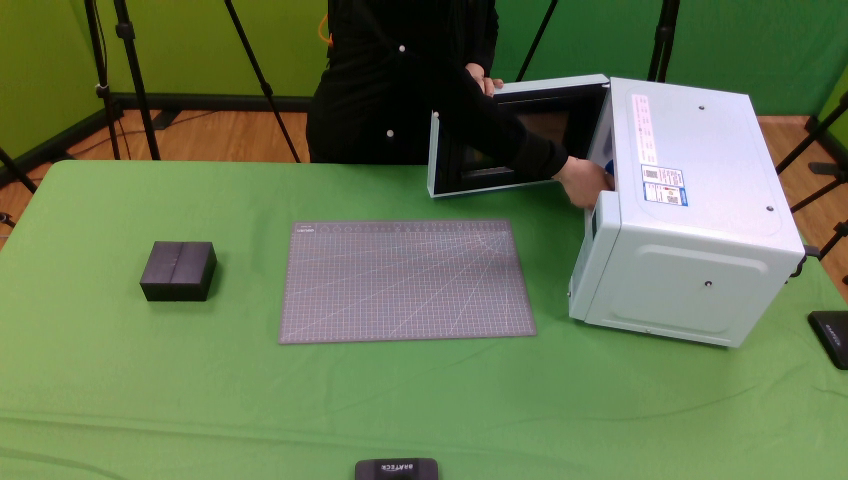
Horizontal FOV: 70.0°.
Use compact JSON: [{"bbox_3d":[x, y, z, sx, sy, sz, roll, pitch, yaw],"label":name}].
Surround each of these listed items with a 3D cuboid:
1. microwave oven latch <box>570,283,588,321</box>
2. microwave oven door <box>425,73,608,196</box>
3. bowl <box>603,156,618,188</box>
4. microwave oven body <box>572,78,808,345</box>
[{"bbox_3d":[0.276,0.105,1.082,0.030,0.029,0.079,10,45,7],"label":"microwave oven latch"},{"bbox_3d":[0.183,-0.214,1.242,0.356,0.245,0.039,-9,47,-12],"label":"microwave oven door"},{"bbox_3d":[0.419,-0.094,1.195,0.151,0.077,0.150,4,48,-4],"label":"bowl"},{"bbox_3d":[0.455,-0.063,1.125,0.326,0.261,0.439,8,45,5],"label":"microwave oven body"}]
